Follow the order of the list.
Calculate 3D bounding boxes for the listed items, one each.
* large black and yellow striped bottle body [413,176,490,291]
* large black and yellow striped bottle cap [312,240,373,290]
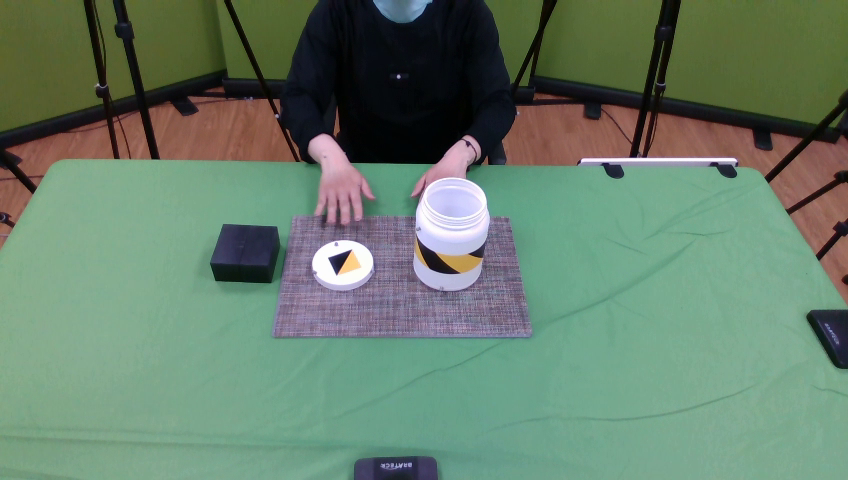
[{"bbox_3d":[0.049,-0.011,1.091,0.131,0.185,0.130,2,46,-2],"label":"large black and yellow striped bottle body"},{"bbox_3d":[-0.153,0.046,1.140,0.115,0.019,0.114,3,47,-3],"label":"large black and yellow striped bottle cap"}]
